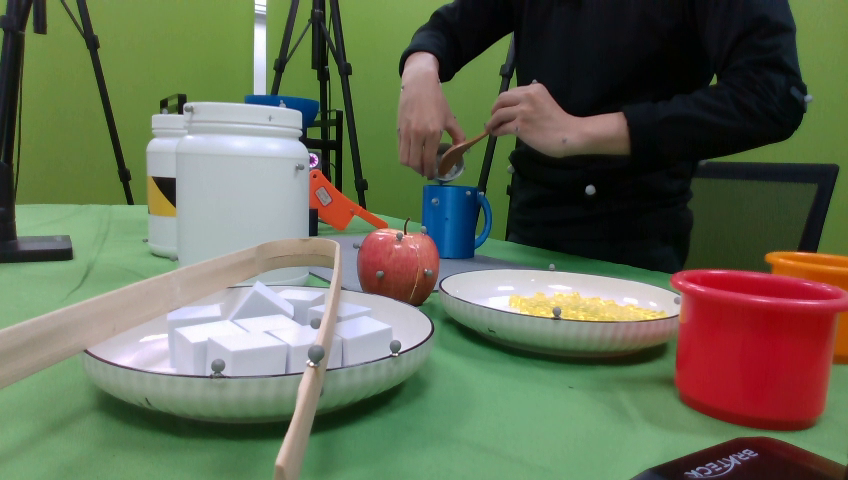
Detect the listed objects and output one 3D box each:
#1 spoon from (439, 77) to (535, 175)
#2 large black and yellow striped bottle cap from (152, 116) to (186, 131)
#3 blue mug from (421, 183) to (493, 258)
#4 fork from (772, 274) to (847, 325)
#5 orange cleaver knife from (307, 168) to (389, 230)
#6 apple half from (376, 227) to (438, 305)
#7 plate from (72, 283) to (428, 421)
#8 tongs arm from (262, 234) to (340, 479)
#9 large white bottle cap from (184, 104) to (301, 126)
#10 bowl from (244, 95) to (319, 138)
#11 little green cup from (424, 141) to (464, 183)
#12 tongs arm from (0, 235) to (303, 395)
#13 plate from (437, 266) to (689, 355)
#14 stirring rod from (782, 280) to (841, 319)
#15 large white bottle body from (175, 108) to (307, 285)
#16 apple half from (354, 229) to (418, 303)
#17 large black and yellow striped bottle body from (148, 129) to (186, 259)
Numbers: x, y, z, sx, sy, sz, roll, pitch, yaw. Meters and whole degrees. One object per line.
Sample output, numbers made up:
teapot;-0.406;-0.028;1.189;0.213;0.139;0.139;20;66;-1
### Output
spoon;0.091;-0.165;0.885;0.193;0.021;0.042;-40;-22;17
large black and yellow striped bottle cap;-0.309;-0.156;0.826;0.115;0.019;0.115;3;6;0
blue mug;0.052;-0.032;0.912;0.117;0.106;0.082;-1;8;-24
fork;0.332;0.018;0.443;0.028;0.018;0.207;-1;-36;-15
orange cleaver knife;-0.158;-0.060;1.166;0.212;0.077;0.012;34;-12;-32
apple half;-0.017;0.026;0.593;0.080;0.074;0.053;4;2;43
plate;-0.102;0.066;0.381;0.208;0.039;0.207;2;7;0
tongs arm;-0.074;0.039;0.349;0.051;0.026;0.384;-2;10;-3
large white bottle cap;-0.184;-0.126;0.618;0.115;0.018;0.115;2;8;0
bowl;-0.293;-0.251;1.249;0.151;0.077;0.151;2;7;0
little green cup;0.029;-0.119;0.933;0.062;0.061;0.038;1;-12;-8
tongs arm;-0.157;0.038;0.351;0.028;0.028;0.388;-3;9;12
plate;0.114;0.057;0.517;0.209;0.038;0.209;3;7;0
stirring rod;0.344;0.019;0.461;0.014;0.006;0.176;-13;-27;-30
large white bottle body;-0.188;-0.042;0.630;0.131;0.184;0.130;2;8;0
apple half;-0.044;0.027;0.564;0.081;0.081;0.033;9;5;42
large black and yellow striped bottle body;-0.310;-0.072;0.838;0.131;0.184;0.130;2;8;0
